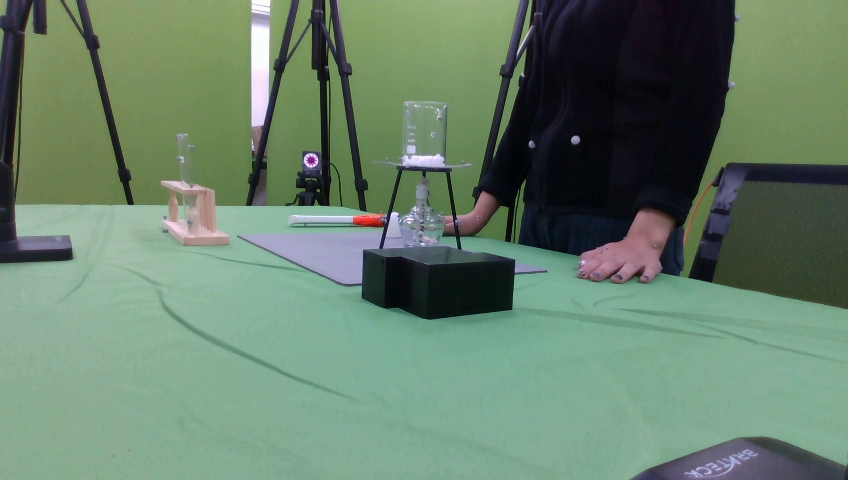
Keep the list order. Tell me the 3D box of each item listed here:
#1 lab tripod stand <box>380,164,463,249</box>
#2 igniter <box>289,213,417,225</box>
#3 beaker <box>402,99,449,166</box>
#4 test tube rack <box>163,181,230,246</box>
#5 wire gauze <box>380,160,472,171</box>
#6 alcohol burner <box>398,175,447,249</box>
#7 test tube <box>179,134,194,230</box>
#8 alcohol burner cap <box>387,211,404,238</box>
[{"bbox_3d":[-0.003,-0.055,0.967,0.148,0.131,0.148,2,9,0],"label":"lab tripod stand"},{"bbox_3d":[-0.144,-0.044,1.275,0.278,0.025,0.057,-1,-2,-27],"label":"igniter"},{"bbox_3d":[0.003,-0.168,0.957,0.073,0.100,0.084,8,11,35],"label":"beaker"},{"bbox_3d":[-0.387,-0.050,1.015,0.067,0.085,0.241,-2,9,-30],"label":"test tube rack"},{"bbox_3d":[-0.004,-0.120,0.959,0.122,0.011,0.124,-5,13,-33],"label":"wire gauze"},{"bbox_3d":[-0.002,-0.046,0.973,0.078,0.119,0.078,0,7,0],"label":"alcohol burner"},{"bbox_3d":[-0.366,-0.089,0.938,0.017,0.150,0.017,-1,9,1],"label":"test tube"},{"bbox_3d":[-0.053,-0.029,1.107,0.034,0.048,0.034,2,9,0],"label":"alcohol burner cap"}]
